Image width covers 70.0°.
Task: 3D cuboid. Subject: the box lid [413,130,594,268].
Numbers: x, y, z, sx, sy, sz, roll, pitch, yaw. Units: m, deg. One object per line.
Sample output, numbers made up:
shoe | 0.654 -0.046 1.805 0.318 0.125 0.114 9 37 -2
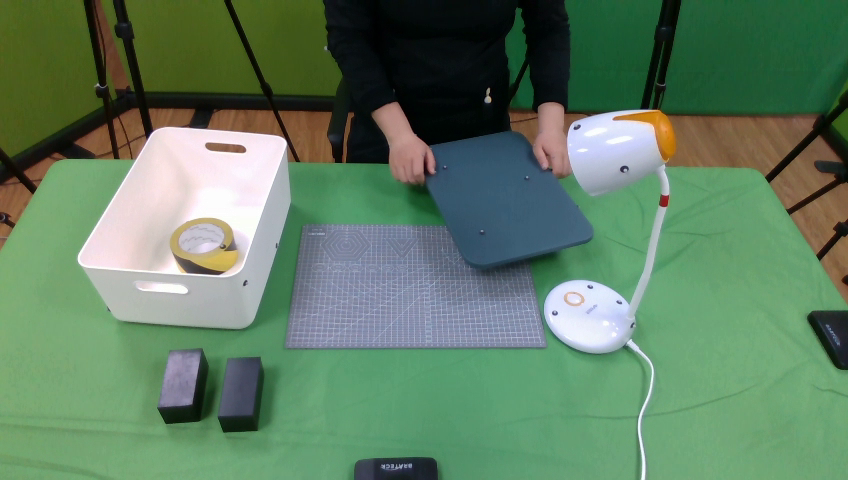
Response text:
box lid | 0.149 -0.096 1.223 0.263 0.015 0.369 -13 47 -13

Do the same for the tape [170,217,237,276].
tape | -0.408 0.014 1.123 0.117 0.053 0.116 2 46 -2

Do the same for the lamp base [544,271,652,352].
lamp base | 0.309 0.086 1.029 0.178 0.181 0.160 32 52 21

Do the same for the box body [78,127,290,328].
box body | -0.400 -0.026 1.095 0.254 0.161 0.362 4 46 0

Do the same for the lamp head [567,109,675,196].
lamp head | 0.272 -0.123 0.818 0.122 0.113 0.112 -9 35 37
